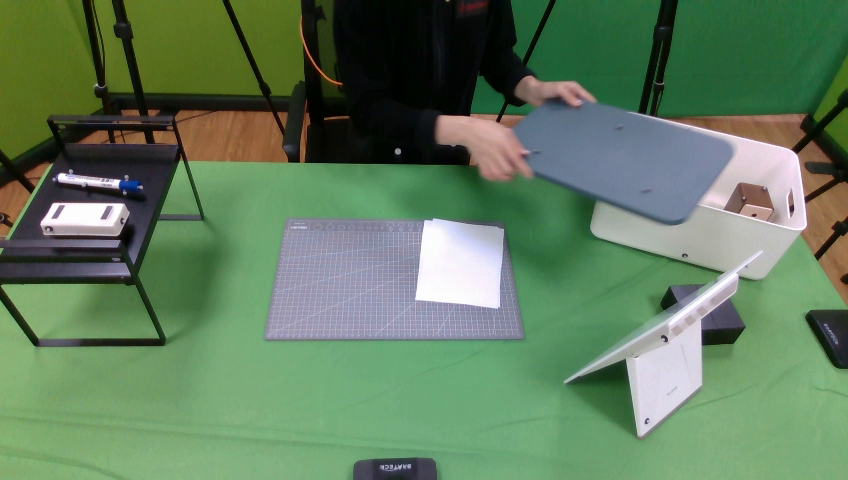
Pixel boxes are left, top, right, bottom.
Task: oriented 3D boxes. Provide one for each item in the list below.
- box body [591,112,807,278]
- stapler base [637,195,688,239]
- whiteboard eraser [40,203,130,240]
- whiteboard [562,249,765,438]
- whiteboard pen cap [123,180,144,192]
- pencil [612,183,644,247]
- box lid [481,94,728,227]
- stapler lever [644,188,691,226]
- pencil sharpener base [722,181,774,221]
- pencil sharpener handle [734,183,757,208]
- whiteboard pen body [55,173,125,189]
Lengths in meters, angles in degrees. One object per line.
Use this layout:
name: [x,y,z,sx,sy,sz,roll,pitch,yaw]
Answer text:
box body: [0.540,-0.092,1.229,0.363,0.161,0.253,16,47,11]
stapler base: [0.507,-0.055,1.280,0.041,0.024,0.129,-14,47,-19]
whiteboard eraser: [-0.513,-0.028,0.922,0.113,0.042,0.055,1,48,-3]
whiteboard: [0.386,0.175,0.905,0.217,0.306,0.143,-26,72,-26]
whiteboard pen cap: [-0.479,-0.089,0.993,0.033,0.018,0.018,7,46,14]
pencil: [0.430,-0.057,1.285,0.012,0.012,0.192,-2,46,-6]
box lid: [0.315,-0.155,1.074,0.369,0.015,0.263,27,51,30]
stapler lever: [0.507,-0.075,1.262,0.027,0.040,0.117,-14,46,-19]
pencil sharpener base: [0.651,-0.056,1.232,0.061,0.107,0.076,11,46,6]
pencil sharpener handle: [0.663,-0.100,1.259,0.036,0.068,0.030,11,45,6]
whiteboard pen body: [-0.539,-0.095,0.998,0.141,0.017,0.017,6,46,6]
